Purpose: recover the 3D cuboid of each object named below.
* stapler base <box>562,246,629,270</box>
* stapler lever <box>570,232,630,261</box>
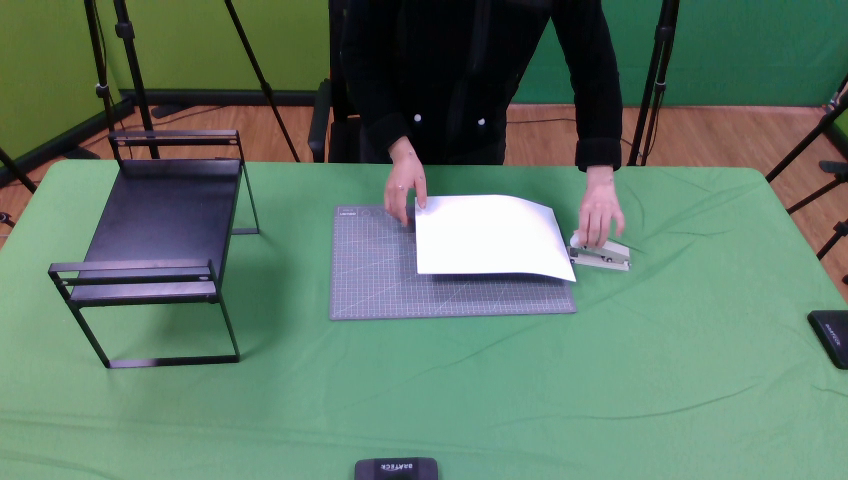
[{"bbox_3d":[0.340,0.030,1.193,0.130,0.024,0.041,9,49,2],"label":"stapler base"},{"bbox_3d":[0.343,0.012,1.175,0.118,0.040,0.026,9,48,3],"label":"stapler lever"}]
